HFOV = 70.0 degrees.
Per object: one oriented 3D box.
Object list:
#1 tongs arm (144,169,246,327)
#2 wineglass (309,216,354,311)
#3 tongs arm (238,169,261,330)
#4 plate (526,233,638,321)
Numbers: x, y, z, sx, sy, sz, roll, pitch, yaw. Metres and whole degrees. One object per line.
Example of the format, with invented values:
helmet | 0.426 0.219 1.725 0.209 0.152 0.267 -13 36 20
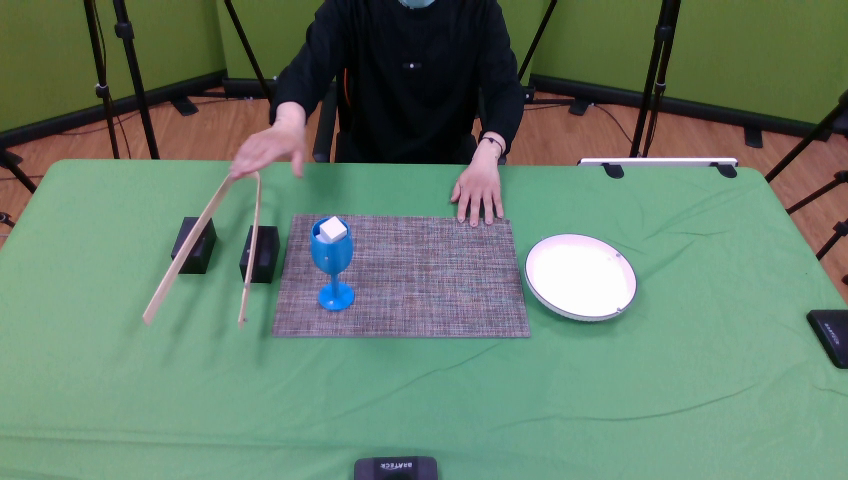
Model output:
tongs arm | -0.409 -0.002 1.101 0.028 0.028 0.385 5 45 9
wineglass | -0.155 0.043 1.032 0.074 0.173 0.073 2 46 -2
tongs arm | -0.329 0.001 1.102 0.051 0.026 0.382 -2 46 -3
plate | 0.292 0.071 1.135 0.209 0.038 0.208 2 46 -2
